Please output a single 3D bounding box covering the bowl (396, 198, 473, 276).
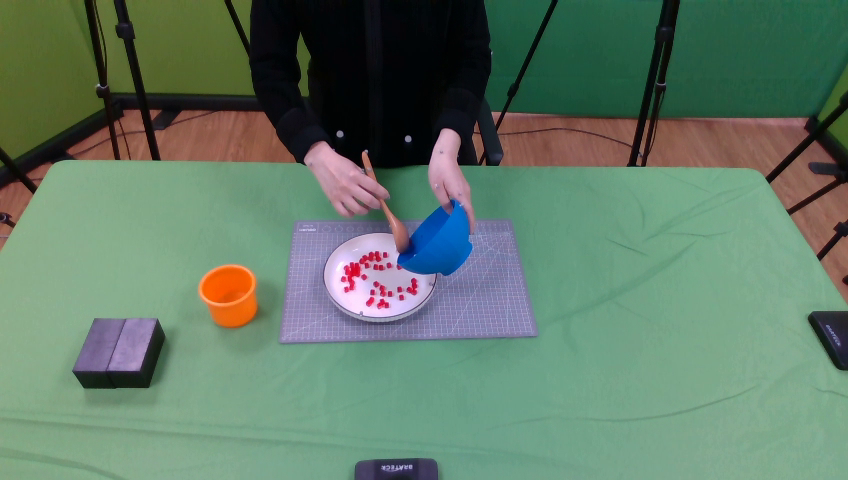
[{"bbox_3d":[0.030,0.009,1.036,0.077,0.151,0.151,42,48,-12],"label":"bowl"}]

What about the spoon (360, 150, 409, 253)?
[{"bbox_3d":[-0.069,-0.064,1.034,0.021,0.194,0.041,-8,27,41],"label":"spoon"}]

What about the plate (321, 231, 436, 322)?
[{"bbox_3d":[-0.083,0.070,1.109,0.209,0.038,0.208,3,46,-3],"label":"plate"}]
